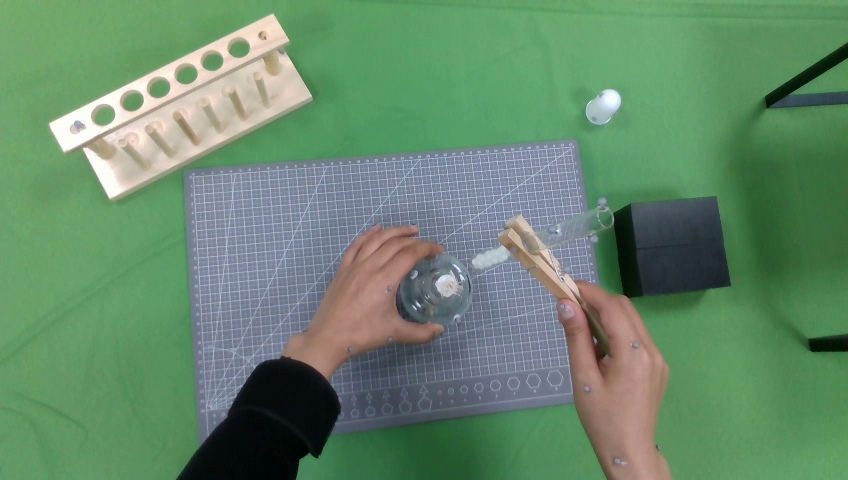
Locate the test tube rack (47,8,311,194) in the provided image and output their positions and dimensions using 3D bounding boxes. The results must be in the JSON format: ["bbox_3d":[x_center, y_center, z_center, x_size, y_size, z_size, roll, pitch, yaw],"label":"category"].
[{"bbox_3d":[-0.245,-0.143,0.636,0.242,0.085,0.066,-30,85,-9],"label":"test tube rack"}]

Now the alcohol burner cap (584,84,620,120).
[{"bbox_3d":[0.209,-0.162,0.706,0.034,0.048,0.033,1,81,-4],"label":"alcohol burner cap"}]

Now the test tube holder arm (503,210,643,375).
[{"bbox_3d":[0.121,0.045,0.478,0.179,0.015,0.013,47,65,-17],"label":"test tube holder arm"}]

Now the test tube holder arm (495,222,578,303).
[{"bbox_3d":[0.088,0.019,0.462,0.088,0.015,0.010,42,66,-19],"label":"test tube holder arm"}]

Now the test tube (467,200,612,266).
[{"bbox_3d":[0.078,-0.002,0.449,0.017,0.150,0.017,9,72,-30],"label":"test tube"}]

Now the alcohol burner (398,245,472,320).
[{"bbox_3d":[0.014,0.042,0.615,0.078,0.119,0.077,1,83,-9],"label":"alcohol burner"}]
